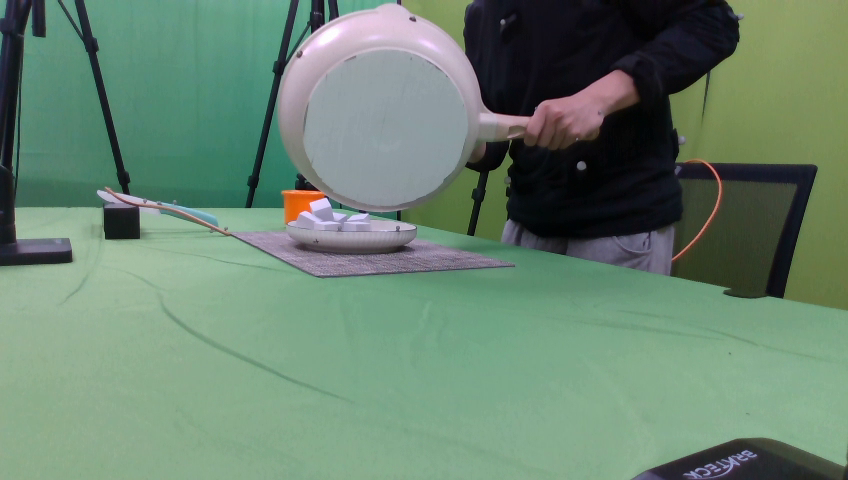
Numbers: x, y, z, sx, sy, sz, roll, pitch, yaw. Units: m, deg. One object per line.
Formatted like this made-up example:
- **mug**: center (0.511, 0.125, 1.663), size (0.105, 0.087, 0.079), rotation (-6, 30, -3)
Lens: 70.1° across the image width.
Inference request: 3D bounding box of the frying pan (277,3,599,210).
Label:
- **frying pan**: center (0.042, -0.169, 0.878), size (0.490, 0.306, 0.102), rotation (-4, 33, -19)

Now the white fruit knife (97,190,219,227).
- **white fruit knife**: center (-0.468, -0.057, 1.079), size (0.208, 0.027, 0.016), rotation (16, -1, -29)

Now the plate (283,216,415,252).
- **plate**: center (-0.119, -0.010, 0.968), size (0.208, 0.039, 0.207), rotation (3, 7, 0)

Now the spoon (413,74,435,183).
- **spoon**: center (-0.001, -0.172, 0.908), size (0.042, 0.193, 0.021), rotation (21, -35, -36)

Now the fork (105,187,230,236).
- **fork**: center (-0.428, -0.047, 1.020), size (0.208, 0.018, 0.028), rotation (19, -10, -26)
